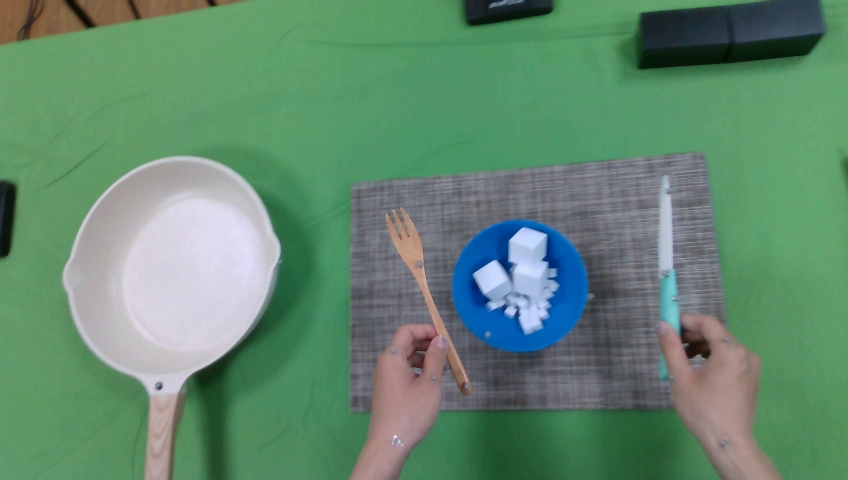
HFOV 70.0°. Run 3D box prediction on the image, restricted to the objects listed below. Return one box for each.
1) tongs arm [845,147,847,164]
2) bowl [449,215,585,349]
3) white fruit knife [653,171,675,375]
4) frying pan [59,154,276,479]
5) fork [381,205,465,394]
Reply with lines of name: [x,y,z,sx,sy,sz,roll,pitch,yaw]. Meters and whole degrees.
tongs arm: [0.515,0.077,0.650,0.028,0.028,0.385,-9,76,8]
bowl: [0.109,0.053,0.706,0.151,0.077,0.150,-2,78,11]
white fruit knife: [0.238,0.034,0.607,0.016,0.027,0.207,-1,88,-13]
frying pan: [-0.325,0.130,0.767,0.306,0.103,0.484,-6,69,11]
fork: [0.001,0.062,0.628,0.028,0.018,0.207,-21,85,-17]
